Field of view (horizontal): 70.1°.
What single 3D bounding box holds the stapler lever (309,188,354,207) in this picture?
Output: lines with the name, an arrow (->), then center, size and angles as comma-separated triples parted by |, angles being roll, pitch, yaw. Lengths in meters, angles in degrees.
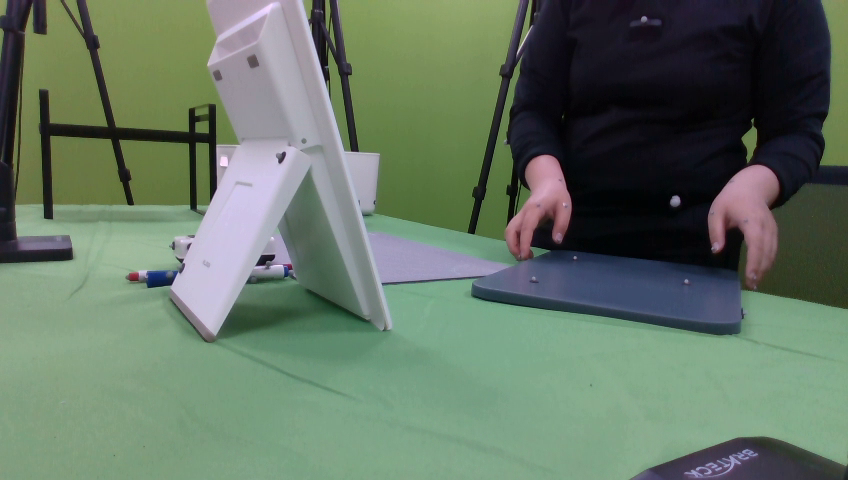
stapler lever -> -0.231, -0.106, 1.509 | 0.119, 0.040, 0.026 | 3, 9, -35

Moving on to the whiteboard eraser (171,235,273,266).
whiteboard eraser -> -0.248, 0.014, 0.747 | 0.113, 0.042, 0.055 | -1, 10, -32

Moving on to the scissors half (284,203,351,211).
scissors half -> -0.269, -0.081, 1.535 | 0.176, 0.013, 0.040 | -6, 10, -23

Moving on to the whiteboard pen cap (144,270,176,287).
whiteboard pen cap -> -0.271, 0.039, 0.627 | 0.033, 0.018, 0.018 | -3, 10, -32

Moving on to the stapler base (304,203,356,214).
stapler base -> -0.235, -0.081, 1.510 | 0.131, 0.024, 0.041 | 2, 9, -35

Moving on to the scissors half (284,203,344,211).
scissors half -> -0.280, -0.083, 1.552 | 0.176, 0.013, 0.040 | -10, 6, -44

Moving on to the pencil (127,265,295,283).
pencil -> -0.231, 0.037, 0.690 | 0.195, 0.012, 0.012 | -2, 9, -34

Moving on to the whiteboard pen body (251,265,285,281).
whiteboard pen body -> -0.220, 0.038, 0.656 | 0.141, 0.017, 0.017 | -1, 8, -31

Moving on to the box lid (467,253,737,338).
box lid -> 0.234, 0.055, 0.736 | 0.262, 0.015, 0.373 | 7, 8, 26

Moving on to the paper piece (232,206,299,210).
paper piece -> -0.388, -0.079, 1.466 | 0.136, 0.004, 0.135 | -1, 7, -30

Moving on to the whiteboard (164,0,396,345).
whiteboard -> -0.173, -0.053, 0.511 | 0.144, 0.305, 0.216 | -23, 19, -26

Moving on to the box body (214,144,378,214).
box body -> -0.328, -0.154, 1.543 | 0.366, 0.160, 0.253 | -2, 9, -32

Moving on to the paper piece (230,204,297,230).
paper piece -> -0.392, -0.059, 1.469 | 0.139, 0.008, 0.135 | -8, 28, -25
